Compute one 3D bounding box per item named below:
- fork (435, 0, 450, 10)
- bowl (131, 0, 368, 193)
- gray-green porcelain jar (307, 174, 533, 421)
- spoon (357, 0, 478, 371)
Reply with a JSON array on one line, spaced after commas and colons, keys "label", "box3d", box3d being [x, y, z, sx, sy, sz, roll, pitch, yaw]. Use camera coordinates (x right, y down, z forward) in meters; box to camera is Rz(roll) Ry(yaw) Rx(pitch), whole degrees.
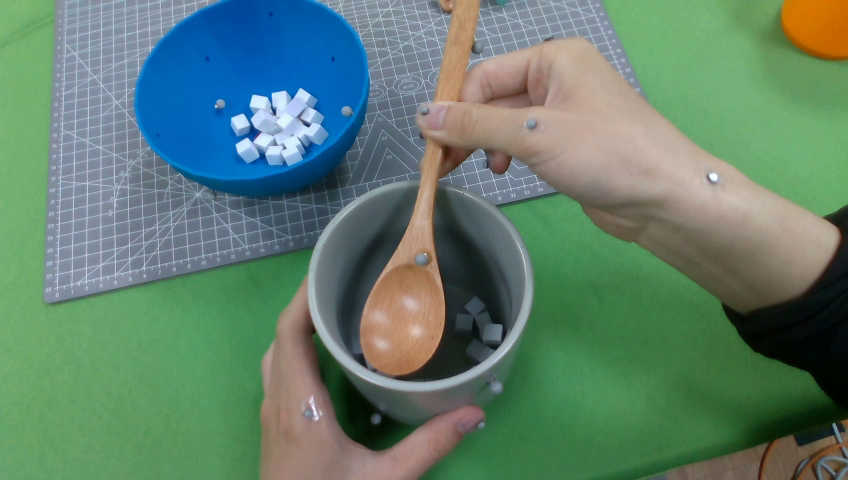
[{"label": "fork", "box3d": [-0.010, -0.290, 0.504, 0.028, 0.018, 0.207, -15, 85, -10]}, {"label": "bowl", "box3d": [-0.109, -0.088, 0.419, 0.151, 0.077, 0.150, -1, 66, 2]}, {"label": "gray-green porcelain jar", "box3d": [0.001, 0.040, 0.334, 0.106, 0.127, 0.105, -1, 65, 2]}, {"label": "spoon", "box3d": [0.004, -0.033, 0.292, 0.041, 0.022, 0.193, 12, 90, 13]}]
